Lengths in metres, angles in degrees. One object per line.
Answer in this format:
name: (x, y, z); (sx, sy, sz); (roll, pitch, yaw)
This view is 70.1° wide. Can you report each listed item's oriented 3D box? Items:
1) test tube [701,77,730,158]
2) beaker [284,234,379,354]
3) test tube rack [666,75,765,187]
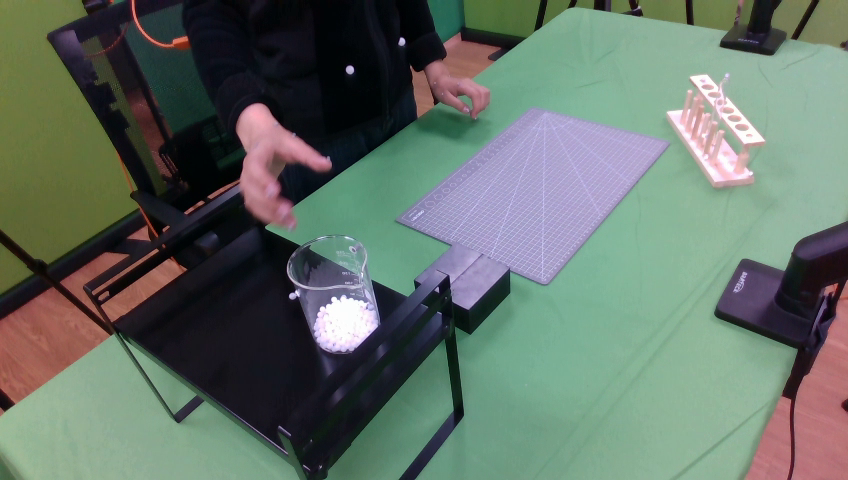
test tube: (0.491, -0.204, 1.020); (0.017, 0.151, 0.017); (-4, 41, 4)
beaker: (-0.083, 0.056, 0.585); (0.083, 0.101, 0.074); (28, 52, 33)
test tube rack: (0.512, -0.201, 1.082); (0.067, 0.085, 0.241); (-6, 41, 2)
